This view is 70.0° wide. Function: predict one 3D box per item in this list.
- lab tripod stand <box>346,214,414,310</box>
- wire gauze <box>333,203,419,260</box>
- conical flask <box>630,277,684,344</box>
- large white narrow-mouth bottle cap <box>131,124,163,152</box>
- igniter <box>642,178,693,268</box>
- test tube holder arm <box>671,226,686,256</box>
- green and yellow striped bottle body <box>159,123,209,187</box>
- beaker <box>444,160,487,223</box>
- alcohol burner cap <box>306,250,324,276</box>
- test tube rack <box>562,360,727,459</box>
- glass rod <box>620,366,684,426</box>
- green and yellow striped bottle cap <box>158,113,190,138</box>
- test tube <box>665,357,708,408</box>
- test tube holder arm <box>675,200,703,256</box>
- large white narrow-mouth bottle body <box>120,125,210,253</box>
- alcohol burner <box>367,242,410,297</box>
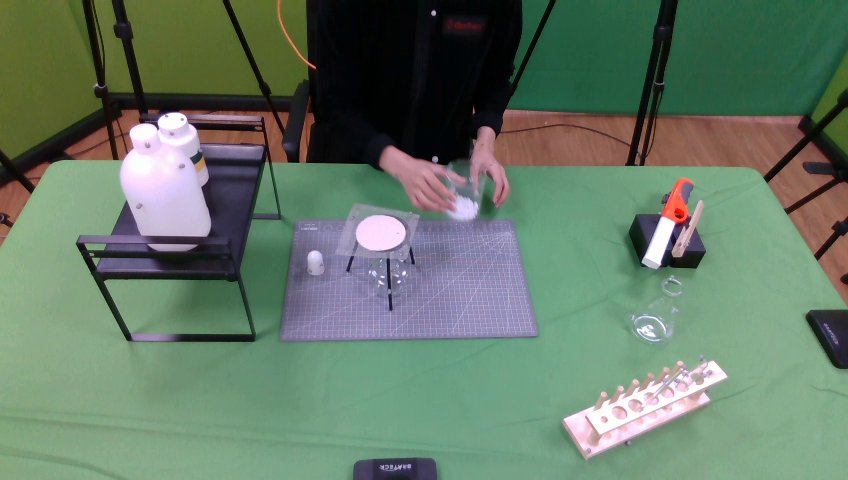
[{"bbox_3d":[-0.075,0.030,1.082,0.148,0.132,0.147,1,47,-1],"label":"lab tripod stand"},{"bbox_3d":[-0.079,-0.014,1.030,0.121,0.011,0.124,8,46,6],"label":"wire gauze"},{"bbox_3d":[0.408,0.117,1.045,0.075,0.122,0.075,2,46,-2],"label":"conical flask"},{"bbox_3d":[-0.371,-0.137,0.813,0.038,0.024,0.037,3,46,-3],"label":"large white narrow-mouth bottle cap"},{"bbox_3d":[0.488,-0.042,1.205,0.057,0.025,0.276,30,51,11],"label":"igniter"},{"bbox_3d":[0.494,0.001,1.167,0.010,0.015,0.087,1,36,42],"label":"test tube holder arm"},{"bbox_3d":[-0.395,-0.145,0.989,0.063,0.120,0.063,2,46,-2],"label":"green and yellow striped bottle body"},{"bbox_3d":[0.076,-0.088,1.125,0.073,0.101,0.084,32,54,22],"label":"beaker"},{"bbox_3d":[-0.204,0.040,1.125,0.034,0.048,0.033,2,46,-2],"label":"alcohol burner cap"},{"bbox_3d":[0.341,0.247,0.940,0.243,0.085,0.066,-16,49,-19],"label":"test tube rack"},{"bbox_3d":[0.322,0.227,0.866,0.008,0.200,0.008,5,51,-7],"label":"glass rod"},{"bbox_3d":[-0.393,-0.180,0.951,0.045,0.020,0.045,2,44,-2],"label":"green and yellow striped bottle cap"},{"bbox_3d":[0.387,0.216,0.905,0.017,0.151,0.017,1,52,-1],"label":"test tube"},{"bbox_3d":[0.523,-0.025,1.190,0.013,0.015,0.178,1,36,42],"label":"test tube holder arm"},{"bbox_3d":[-0.378,-0.077,0.875,0.102,0.195,0.101,3,46,-3],"label":"large white narrow-mouth bottle body"},{"bbox_3d":[-0.064,0.047,1.080,0.078,0.120,0.077,1,47,-1],"label":"alcohol burner"}]
